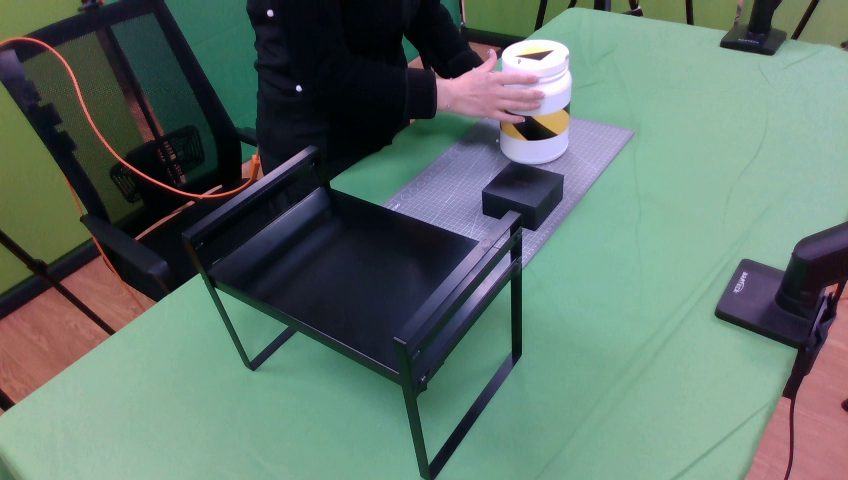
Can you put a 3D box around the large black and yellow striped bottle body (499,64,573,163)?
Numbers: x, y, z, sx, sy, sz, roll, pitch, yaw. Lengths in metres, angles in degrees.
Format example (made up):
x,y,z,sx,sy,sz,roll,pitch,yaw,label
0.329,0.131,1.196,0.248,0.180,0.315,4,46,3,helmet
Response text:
x,y,z,sx,sy,sz,roll,pitch,yaw,label
0.204,-0.250,1.106,0.131,0.185,0.130,-4,41,4,large black and yellow striped bottle body

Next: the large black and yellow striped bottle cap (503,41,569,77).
x,y,z,sx,sy,sz,roll,pitch,yaw,label
0.194,-0.315,1.049,0.115,0.019,0.114,-4,39,3,large black and yellow striped bottle cap
